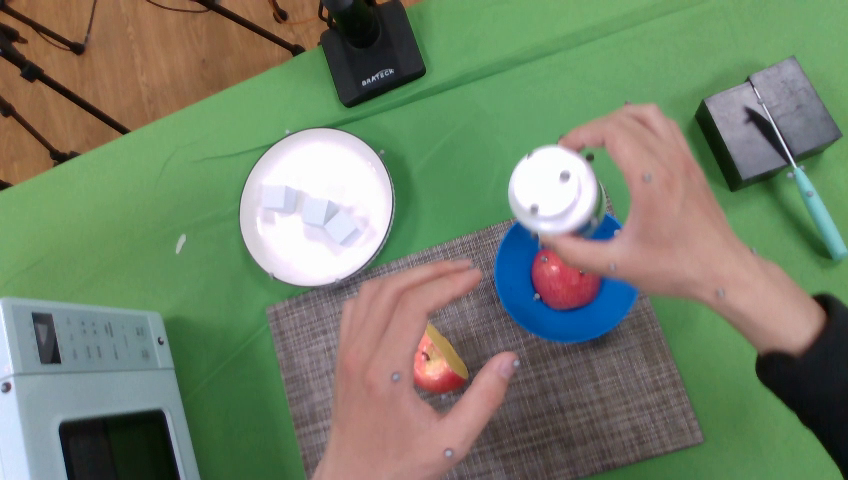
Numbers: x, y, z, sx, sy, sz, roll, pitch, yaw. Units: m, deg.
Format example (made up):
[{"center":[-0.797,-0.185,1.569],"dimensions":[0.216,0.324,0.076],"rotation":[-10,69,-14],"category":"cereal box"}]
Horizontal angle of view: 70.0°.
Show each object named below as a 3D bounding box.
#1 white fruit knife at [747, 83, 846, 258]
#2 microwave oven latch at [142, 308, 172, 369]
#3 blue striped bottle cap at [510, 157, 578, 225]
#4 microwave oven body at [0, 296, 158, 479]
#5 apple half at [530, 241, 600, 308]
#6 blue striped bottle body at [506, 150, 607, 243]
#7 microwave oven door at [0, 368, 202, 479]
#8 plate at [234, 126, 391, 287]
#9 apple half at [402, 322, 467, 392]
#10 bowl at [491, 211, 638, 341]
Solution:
[{"center":[0.383,-0.071,0.627],"dimensions":[0.016,0.027,0.207],"rotation":[-29,92,25],"category":"white fruit knife"},{"center":[-0.350,0.128,0.777],"dimensions":[0.030,0.029,0.078],"rotation":[-21,77,9],"category":"microwave oven latch"},{"center":[0.081,-0.033,0.408],"dimensions":[0.044,0.021,0.044],"rotation":[-1,87,19],"category":"blue striped bottle cap"},{"center":[-0.452,0.327,0.667],"dimensions":[0.326,0.261,0.439],"rotation":[-21,77,8],"category":"microwave oven body"},{"center":[0.154,0.036,0.660],"dimensions":[0.081,0.033,0.081],"rotation":[-3,80,14],"category":"apple half"},{"center":[0.100,-0.031,0.455],"dimensions":[0.063,0.121,0.063],"rotation":[-1,88,22],"category":"blue striped bottle body"},{"center":[-0.305,0.311,0.630],"dimensions":[0.039,0.245,0.354],"rotation":[-22,76,9],"category":"microwave oven door"},{"center":[-0.139,-0.041,0.773],"dimensions":[0.207,0.039,0.207],"rotation":[-2,81,13],"category":"plate"},{"center":[0.006,0.139,0.687],"dimensions":[0.053,0.075,0.080],"rotation":[-40,78,8],"category":"apple half"},{"center":[0.154,0.036,0.665],"dimensions":[0.151,0.077,0.151],"rotation":[-2,80,14],"category":"bowl"}]
